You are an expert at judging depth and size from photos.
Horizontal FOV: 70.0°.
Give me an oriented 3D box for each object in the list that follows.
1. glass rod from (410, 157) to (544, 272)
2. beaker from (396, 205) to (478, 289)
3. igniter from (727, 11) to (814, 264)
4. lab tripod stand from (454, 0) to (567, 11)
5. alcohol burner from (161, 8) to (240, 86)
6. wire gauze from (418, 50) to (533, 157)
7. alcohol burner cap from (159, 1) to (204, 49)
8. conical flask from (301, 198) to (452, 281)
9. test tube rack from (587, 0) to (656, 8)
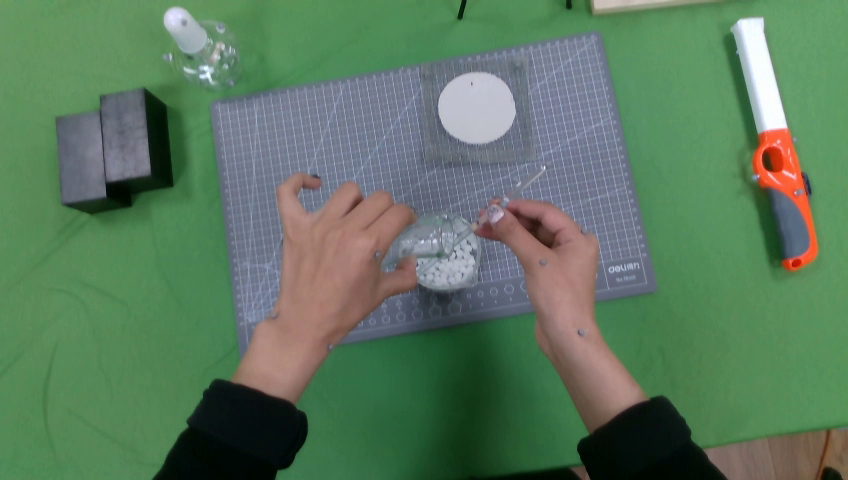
[{"bbox_3d":[0.038,-0.016,0.525,0.008,0.200,0.008,17,55,-26],"label":"glass rod"},{"bbox_3d":[0.018,0.014,0.607,0.083,0.100,0.074,44,87,8],"label":"beaker"},{"bbox_3d":[0.369,-0.112,0.645,0.057,0.025,0.275,-7,82,-7],"label":"igniter"},{"bbox_3d":[0.092,-0.311,0.633,0.148,0.132,0.148,0,84,3],"label":"lab tripod stand"},{"bbox_3d":[-0.245,-0.213,0.647,0.078,0.119,0.077,-1,83,5],"label":"alcohol burner"},{"bbox_3d":[0.056,-0.151,0.674,0.125,0.011,0.121,-2,82,0],"label":"wire gauze"},{"bbox_3d":[-0.247,-0.221,0.612,0.034,0.048,0.033,-1,76,3],"label":"alcohol burner cap"},{"bbox_3d":[-0.038,-0.003,0.526,0.121,0.076,0.075,-3,81,20],"label":"conical flask"},{"bbox_3d":[0.301,-0.314,0.646,0.242,0.085,0.066,-6,81,2],"label":"test tube rack"}]
